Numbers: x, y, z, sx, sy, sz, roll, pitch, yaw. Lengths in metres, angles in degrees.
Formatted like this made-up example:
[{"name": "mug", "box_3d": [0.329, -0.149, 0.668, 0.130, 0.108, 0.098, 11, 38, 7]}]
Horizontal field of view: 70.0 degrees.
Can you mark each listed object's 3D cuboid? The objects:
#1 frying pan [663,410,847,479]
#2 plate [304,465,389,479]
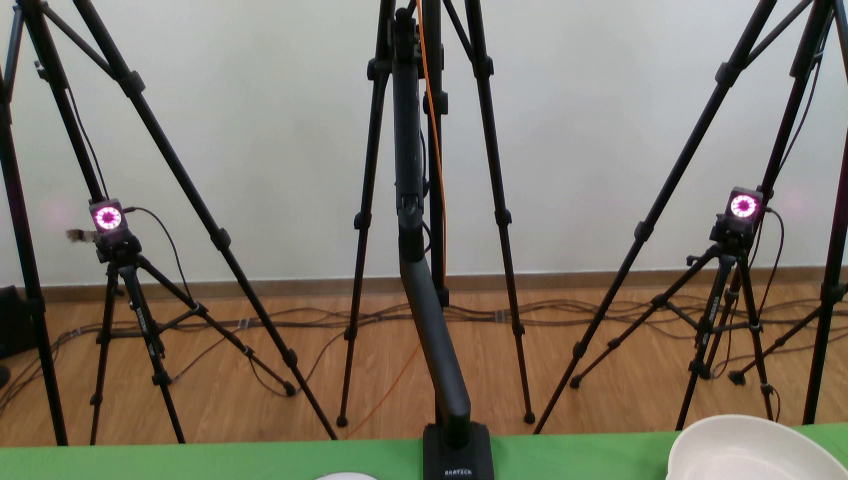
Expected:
[{"name": "frying pan", "box_3d": [0.517, 0.448, 0.858, 0.306, 0.103, 0.484, 1, 27, 5]}, {"name": "plate", "box_3d": [-0.128, 0.448, 0.935, 0.208, 0.039, 0.205, -1, 35, 1]}]
